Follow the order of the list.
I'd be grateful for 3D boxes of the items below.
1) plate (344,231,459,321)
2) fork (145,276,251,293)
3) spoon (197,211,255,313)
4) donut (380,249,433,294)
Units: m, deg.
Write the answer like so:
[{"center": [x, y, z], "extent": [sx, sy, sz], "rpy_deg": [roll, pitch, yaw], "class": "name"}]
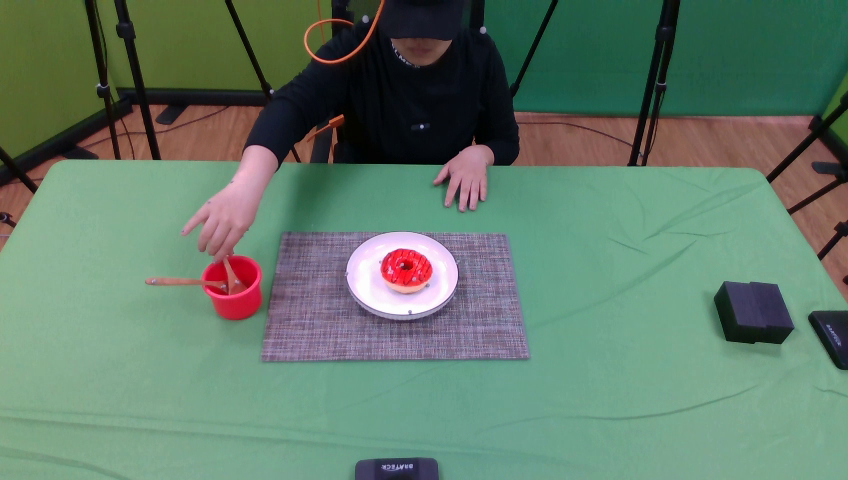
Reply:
[{"center": [-0.042, 0.068, 1.115], "extent": [0.209, 0.038, 0.208], "rpy_deg": [2, 46, -2], "class": "plate"}, {"center": [-0.368, 0.072, 1.006], "extent": [0.018, 0.208, 0.028], "rpy_deg": [-18, 75, 25], "class": "fork"}, {"center": [-0.345, 0.038, 1.050], "extent": [0.041, 0.021, 0.194], "rpy_deg": [-26, 97, -36], "class": "spoon"}, {"center": [-0.032, 0.056, 1.111], "extent": [0.099, 0.048, 0.098], "rpy_deg": [4, 43, -3], "class": "donut"}]
